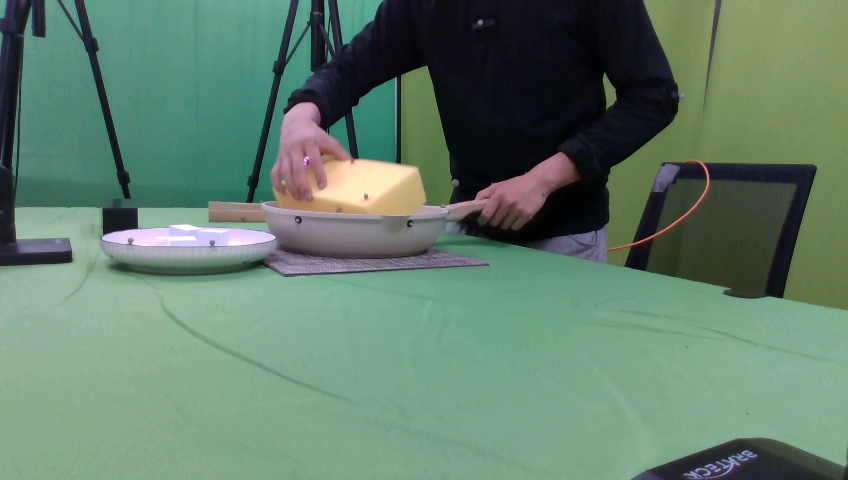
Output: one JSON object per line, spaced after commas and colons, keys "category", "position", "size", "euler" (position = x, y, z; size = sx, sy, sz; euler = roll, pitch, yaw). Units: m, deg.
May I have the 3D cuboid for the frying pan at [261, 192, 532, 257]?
{"category": "frying pan", "position": [-0.016, -0.043, 1.006], "size": [0.490, 0.102, 0.305], "euler": [-11, 13, -26]}

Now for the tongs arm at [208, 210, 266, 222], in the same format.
{"category": "tongs arm", "position": [-0.280, -0.055, 1.355], "size": [0.389, 0.028, 0.028], "euler": [-1, 6, -28]}

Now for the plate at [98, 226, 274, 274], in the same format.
{"category": "plate", "position": [-0.301, 0.012, 0.778], "size": [0.208, 0.039, 0.207], "euler": [3, 7, 0]}

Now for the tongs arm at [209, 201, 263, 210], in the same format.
{"category": "tongs arm", "position": [-0.306, -0.071, 1.430], "size": [0.386, 0.026, 0.050], "euler": [1, 9, -15]}

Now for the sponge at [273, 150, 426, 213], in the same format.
{"category": "sponge", "position": [-0.117, -0.075, 0.928], "size": [0.206, 0.061, 0.118], "euler": [13, 43, 37]}
